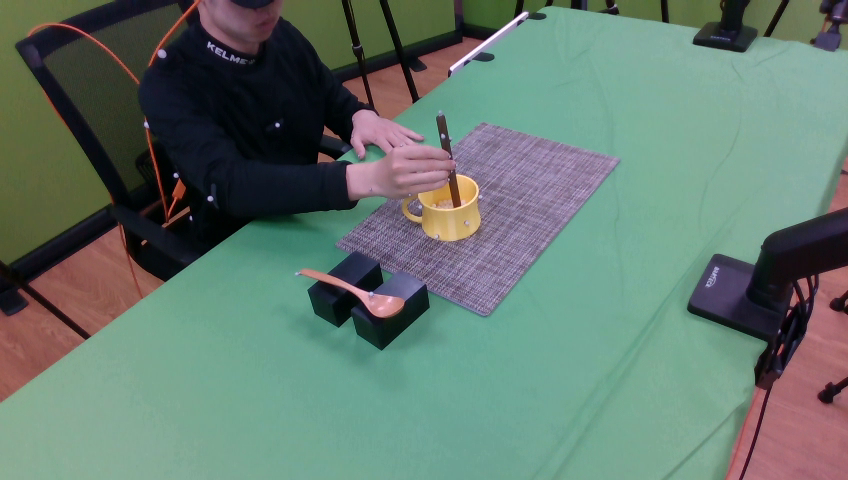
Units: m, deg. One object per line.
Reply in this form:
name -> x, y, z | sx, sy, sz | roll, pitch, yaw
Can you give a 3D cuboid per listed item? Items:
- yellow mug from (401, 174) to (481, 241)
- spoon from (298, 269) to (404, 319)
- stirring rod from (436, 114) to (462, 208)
yellow mug -> 0.026, -0.054, 0.989 | 0.130, 0.064, 0.099 | -1, 41, 8
spoon -> -0.106, 0.068, 0.831 | 0.192, 0.022, 0.042 | 21, 49, 32
stirring rod -> 0.039, -0.116, 0.926 | 0.014, 0.177, 0.005 | -20, 42, -5
